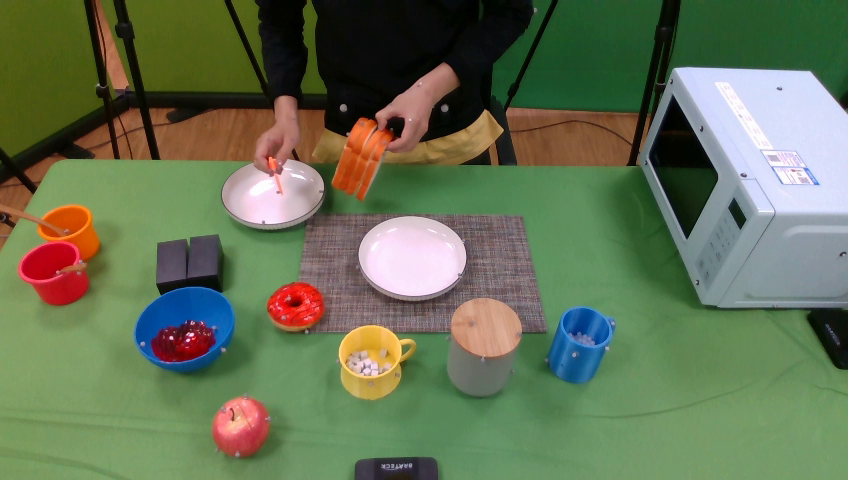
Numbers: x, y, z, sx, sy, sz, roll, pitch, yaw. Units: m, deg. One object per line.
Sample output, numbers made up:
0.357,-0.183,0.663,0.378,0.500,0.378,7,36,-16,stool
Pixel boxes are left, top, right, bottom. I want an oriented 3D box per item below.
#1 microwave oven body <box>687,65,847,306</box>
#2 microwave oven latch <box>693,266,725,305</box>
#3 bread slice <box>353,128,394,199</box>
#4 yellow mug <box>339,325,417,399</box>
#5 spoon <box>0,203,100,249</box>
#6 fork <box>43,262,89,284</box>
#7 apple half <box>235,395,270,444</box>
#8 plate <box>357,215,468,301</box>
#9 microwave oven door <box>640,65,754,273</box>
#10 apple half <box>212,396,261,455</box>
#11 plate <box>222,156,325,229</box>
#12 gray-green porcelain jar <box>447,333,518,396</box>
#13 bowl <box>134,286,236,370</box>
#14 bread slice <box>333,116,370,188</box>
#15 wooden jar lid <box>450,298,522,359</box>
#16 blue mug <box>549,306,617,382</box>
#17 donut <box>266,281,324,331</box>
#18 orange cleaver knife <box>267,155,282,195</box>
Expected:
0.669,-0.111,1.176,0.326,0.261,0.439,0,46,-3,microwave oven body
0.523,0.082,1.115,0.030,0.029,0.078,3,46,0,microwave oven latch
-0.097,-0.154,1.175,0.018,0.134,0.106,27,46,-6,bread slice
-0.072,0.191,0.978,0.131,0.064,0.099,-17,49,-20,yellow mug
-0.683,-0.031,1.088,0.195,0.021,0.041,33,33,-38,spoon
-0.599,0.053,1.013,0.207,0.019,0.028,-14,31,45,fork
-0.245,0.259,0.893,0.033,0.082,0.081,-29,55,-22,apple half
-0.022,0.037,1.141,0.208,0.039,0.206,2,46,-2,plate
0.523,-0.147,1.193,0.039,0.245,0.353,0,47,-3,microwave oven door
-0.276,0.276,0.877,0.053,0.075,0.080,-29,58,-21,apple half
-0.308,-0.095,1.251,0.209,0.038,0.208,2,46,-2,plate
0.091,0.178,0.960,0.106,0.127,0.105,2,46,-2,gray-green porcelain jar
-0.377,0.156,0.981,0.151,0.077,0.150,2,46,-2,bowl
-0.139,-0.178,1.170,0.019,0.132,0.104,25,41,-2,bread slice
0.093,0.135,0.914,0.108,0.021,0.107,2,48,-3,wooden jar lid
0.269,0.166,0.998,0.116,0.106,0.082,-19,51,-21,blue mug
-0.222,0.114,1.049,0.099,0.048,0.098,2,46,-2,donut
-0.277,-0.124,1.128,0.012,0.077,0.210,-18,15,-11,orange cleaver knife
